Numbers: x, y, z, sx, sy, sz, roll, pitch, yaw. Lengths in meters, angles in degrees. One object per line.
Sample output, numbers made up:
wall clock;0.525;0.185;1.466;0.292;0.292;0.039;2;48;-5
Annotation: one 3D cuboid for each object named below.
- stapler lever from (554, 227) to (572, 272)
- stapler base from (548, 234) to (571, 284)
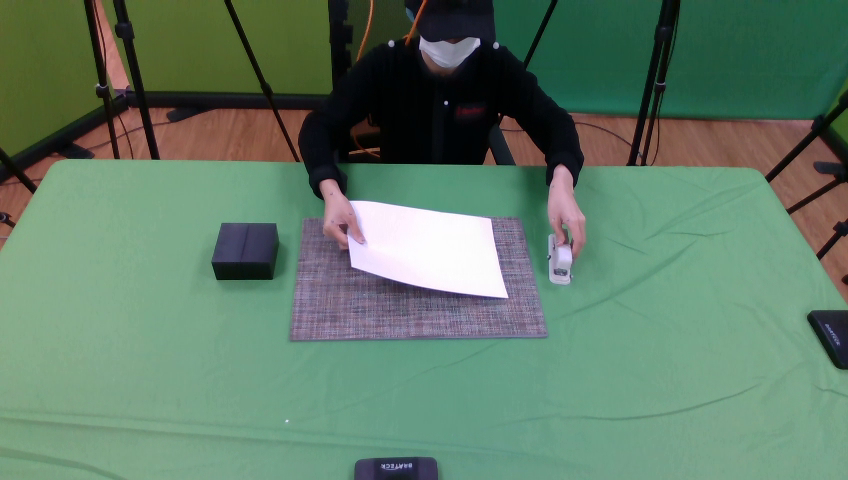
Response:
stapler lever;0.268;0.012;1.172;0.027;0.040;0.117;8;45;2
stapler base;0.267;0.030;1.188;0.041;0.024;0.130;8;44;2
